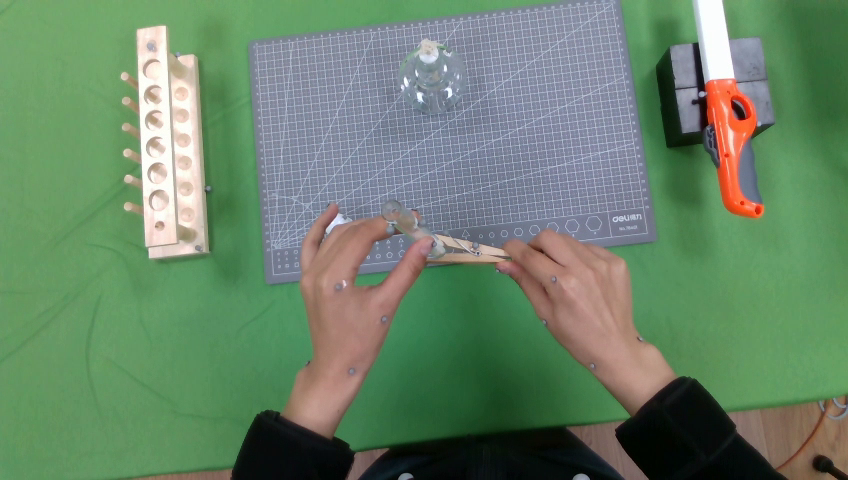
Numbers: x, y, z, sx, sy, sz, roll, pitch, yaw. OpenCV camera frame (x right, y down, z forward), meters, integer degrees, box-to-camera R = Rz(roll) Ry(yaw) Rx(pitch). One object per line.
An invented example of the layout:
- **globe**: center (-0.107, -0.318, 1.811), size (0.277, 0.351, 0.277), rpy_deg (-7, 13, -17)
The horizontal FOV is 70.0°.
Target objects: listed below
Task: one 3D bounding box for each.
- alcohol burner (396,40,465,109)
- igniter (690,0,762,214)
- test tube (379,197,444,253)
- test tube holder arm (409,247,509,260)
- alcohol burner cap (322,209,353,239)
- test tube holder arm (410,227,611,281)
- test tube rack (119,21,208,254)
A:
- **alcohol burner**: center (0.006, -0.189, 0.663), size (0.078, 0.119, 0.077), rpy_deg (-1, 83, 5)
- **igniter**: center (0.316, -0.161, 0.644), size (0.057, 0.025, 0.275), rpy_deg (-5, 80, 0)
- **test tube**: center (-0.005, -0.009, 0.470), size (0.017, 0.151, 0.017), rpy_deg (-2, 79, 13)
- **test tube holder arm**: center (0.030, 0.012, 0.534), size (0.088, 0.015, 0.010), rpy_deg (-1, 84, 2)
- **alcohol burner cap**: center (-0.100, -0.020, 0.683), size (0.034, 0.048, 0.034), rpy_deg (0, 82, 1)
- **test tube holder arm**: center (0.075, 0.012, 0.532), size (0.178, 0.015, 0.013), rpy_deg (11, 86, 3)
- **test tube rack**: center (-0.300, -0.111, 0.685), size (0.067, 0.085, 0.241), rpy_deg (-6, 82, 2)
